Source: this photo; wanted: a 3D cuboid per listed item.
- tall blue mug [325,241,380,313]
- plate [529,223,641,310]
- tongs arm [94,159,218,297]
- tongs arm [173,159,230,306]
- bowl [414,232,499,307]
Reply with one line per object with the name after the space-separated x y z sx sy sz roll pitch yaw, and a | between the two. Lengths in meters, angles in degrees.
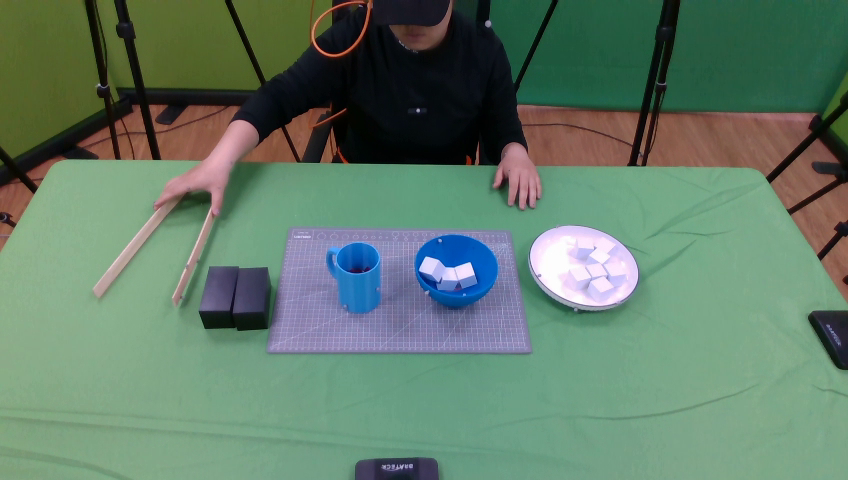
-0.130 0.063 1.062 0.107 0.108 0.077 9 47 5 | tall blue mug
0.303 0.053 1.156 0.209 0.038 0.208 2 46 -1 | plate
-0.517 -0.038 1.191 0.028 0.028 0.386 8 46 15 | tongs arm
-0.440 -0.030 1.184 0.051 0.026 0.382 2 46 4 | tongs arm
0.056 0.067 1.093 0.151 0.077 0.150 2 46 -2 | bowl
